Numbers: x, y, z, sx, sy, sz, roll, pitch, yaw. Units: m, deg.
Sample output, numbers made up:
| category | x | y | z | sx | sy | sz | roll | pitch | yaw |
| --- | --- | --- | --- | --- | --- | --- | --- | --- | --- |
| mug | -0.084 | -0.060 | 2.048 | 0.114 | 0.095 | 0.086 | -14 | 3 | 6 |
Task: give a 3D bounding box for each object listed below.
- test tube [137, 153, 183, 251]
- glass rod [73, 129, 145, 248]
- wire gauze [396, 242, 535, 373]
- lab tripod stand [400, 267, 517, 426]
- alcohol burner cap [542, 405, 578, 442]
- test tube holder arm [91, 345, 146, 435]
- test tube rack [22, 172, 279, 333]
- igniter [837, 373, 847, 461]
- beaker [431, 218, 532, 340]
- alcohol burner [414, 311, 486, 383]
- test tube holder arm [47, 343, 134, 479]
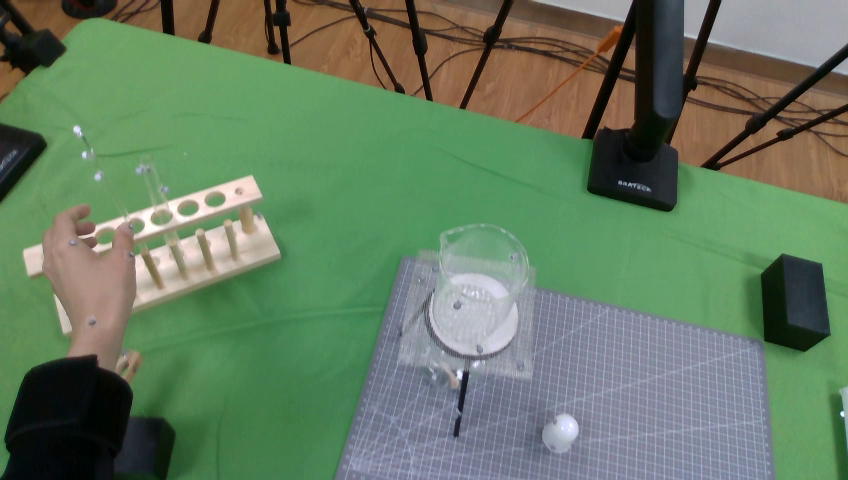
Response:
| category | x | y | z | sx | sy | sz | roll | pitch | yaw |
| --- | --- | --- | --- | --- | --- | --- | --- | --- | --- |
| test tube | -0.282 | -0.035 | 0.652 | 0.017 | 0.151 | 0.017 | 4 | 52 | -5 |
| glass rod | -0.318 | -0.036 | 0.628 | 0.008 | 0.201 | 0.008 | 0 | 51 | 0 |
| wire gauze | 0.043 | 0.062 | 0.572 | 0.121 | 0.011 | 0.124 | 8 | 61 | 1 |
| lab tripod stand | 0.040 | 0.102 | 0.624 | 0.148 | 0.132 | 0.147 | 3 | 58 | -5 |
| alcohol burner cap | 0.143 | 0.190 | 0.633 | 0.034 | 0.048 | 0.033 | 1 | 60 | -2 |
| test tube holder arm | -0.294 | 0.142 | 0.579 | 0.010 | 0.015 | 0.087 | 16 | 57 | 6 |
| test tube rack | -0.294 | 0.012 | 0.679 | 0.243 | 0.086 | 0.066 | -22 | 62 | -19 |
| igniter | 0.457 | 0.269 | 0.625 | 0.057 | 0.025 | 0.274 | 21 | 58 | -4 |
| beaker | 0.042 | 0.037 | 0.529 | 0.083 | 0.101 | 0.074 | 36 | 61 | 16 |
| alcohol burner | 0.030 | 0.104 | 0.633 | 0.078 | 0.120 | 0.077 | 4 | 57 | -5 |
| test tube holder arm | -0.312 | 0.176 | 0.555 | 0.013 | 0.015 | 0.177 | 15 | 56 | 5 |
